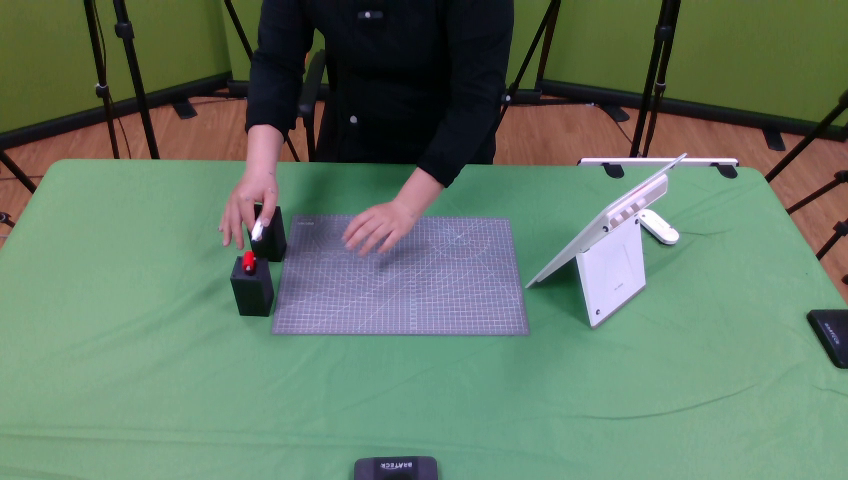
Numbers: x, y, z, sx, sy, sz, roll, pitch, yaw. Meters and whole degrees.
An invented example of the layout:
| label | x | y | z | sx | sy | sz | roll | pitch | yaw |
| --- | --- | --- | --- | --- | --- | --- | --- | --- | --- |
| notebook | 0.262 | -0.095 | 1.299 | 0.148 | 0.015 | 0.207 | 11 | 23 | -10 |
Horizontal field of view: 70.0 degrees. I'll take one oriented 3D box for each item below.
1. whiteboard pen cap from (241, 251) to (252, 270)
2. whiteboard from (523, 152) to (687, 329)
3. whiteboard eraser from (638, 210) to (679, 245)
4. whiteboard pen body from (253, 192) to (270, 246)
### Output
| label | x | y | z | sx | sy | sz | roll | pitch | yaw |
| --- | --- | --- | --- | --- | --- | --- | --- | --- | --- |
| whiteboard pen cap | -0.294 | 0.033 | 1.005 | 0.017 | 0.017 | 0.032 | -3 | 45 | -7 |
| whiteboard | 0.346 | 0.024 | 1.047 | 0.217 | 0.306 | 0.143 | -30 | 74 | -29 |
| whiteboard eraser | 0.485 | -0.027 | 1.260 | 0.041 | 0.019 | 0.100 | -20 | 50 | -22 |
| whiteboard pen body | -0.286 | -0.037 | 1.064 | 0.017 | 0.017 | 0.139 | 0 | 42 | -4 |
